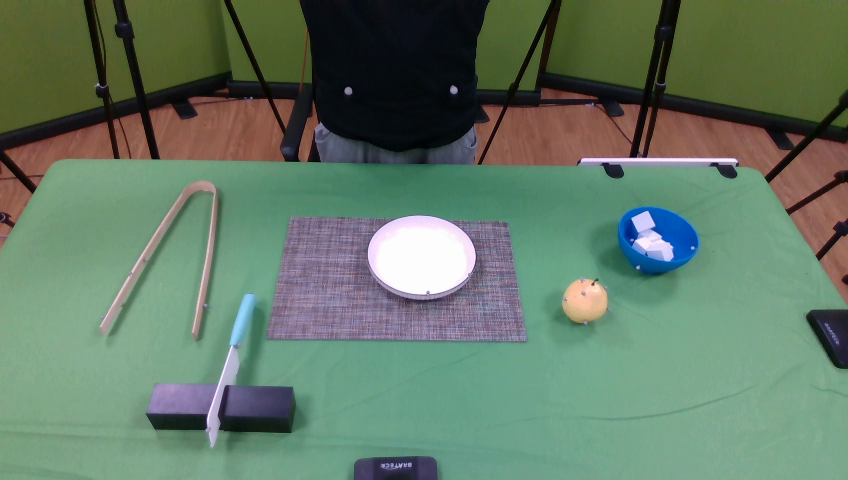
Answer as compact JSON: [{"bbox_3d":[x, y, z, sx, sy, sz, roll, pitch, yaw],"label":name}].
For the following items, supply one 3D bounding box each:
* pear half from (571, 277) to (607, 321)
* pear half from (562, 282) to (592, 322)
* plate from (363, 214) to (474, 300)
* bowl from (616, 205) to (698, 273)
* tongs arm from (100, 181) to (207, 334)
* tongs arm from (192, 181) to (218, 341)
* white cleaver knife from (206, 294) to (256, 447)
[{"bbox_3d":[0.297,0.094,1.069,0.056,0.110,0.076,-21,61,-21],"label":"pear half"},{"bbox_3d":[0.264,0.111,1.065,0.031,0.088,0.070,-20,61,-21],"label":"pear half"},{"bbox_3d":[-0.010,0.036,1.146,0.208,0.039,0.206,3,46,-2],"label":"plate"},{"bbox_3d":[0.443,0.010,1.182,0.151,0.077,0.150,2,46,-2],"label":"bowl"},{"bbox_3d":[-0.493,0.018,1.132,0.051,0.026,0.382,6,45,0],"label":"tongs arm"},{"bbox_3d":[-0.413,0.024,1.139,0.028,0.028,0.385,-5,47,-7],"label":"tongs arm"},{"bbox_3d":[-0.305,0.191,0.956,0.021,0.066,0.284,6,36,-4],"label":"white cleaver knife"}]
